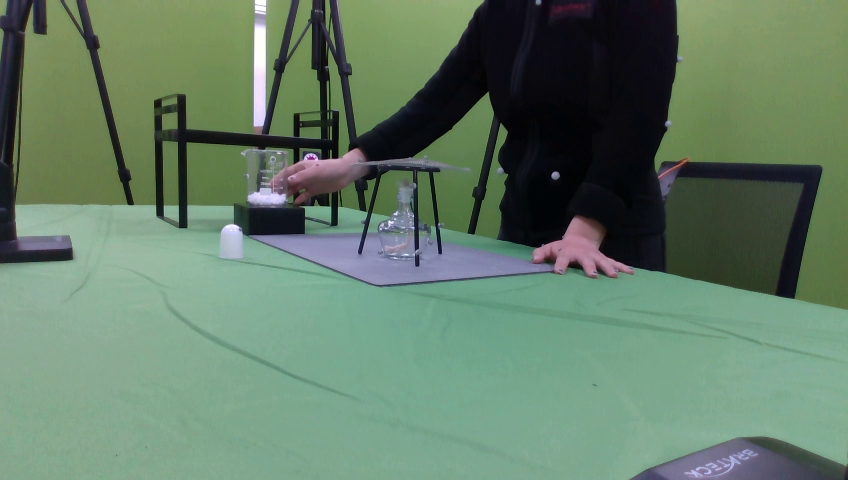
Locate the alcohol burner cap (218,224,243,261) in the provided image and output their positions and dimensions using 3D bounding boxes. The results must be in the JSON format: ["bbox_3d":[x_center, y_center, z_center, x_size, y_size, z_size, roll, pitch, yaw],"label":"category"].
[{"bbox_3d":[-0.263,0.002,0.824,0.034,0.048,0.034,5,9,0],"label":"alcohol burner cap"}]

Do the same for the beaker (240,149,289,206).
[{"bbox_3d":[-0.286,-0.112,1.086,0.084,0.100,0.073,-1,9,-23],"label":"beaker"}]

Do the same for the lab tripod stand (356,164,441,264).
[{"bbox_3d":[-0.023,-0.041,0.859,0.148,0.131,0.148,2,5,0],"label":"lab tripod stand"}]

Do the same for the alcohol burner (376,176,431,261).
[{"bbox_3d":[-0.029,-0.031,0.859,0.078,0.119,0.078,2,9,0],"label":"alcohol burner"}]

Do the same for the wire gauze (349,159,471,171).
[{"bbox_3d":[-0.019,-0.106,0.847,0.121,0.011,0.126,8,7,43],"label":"wire gauze"}]
